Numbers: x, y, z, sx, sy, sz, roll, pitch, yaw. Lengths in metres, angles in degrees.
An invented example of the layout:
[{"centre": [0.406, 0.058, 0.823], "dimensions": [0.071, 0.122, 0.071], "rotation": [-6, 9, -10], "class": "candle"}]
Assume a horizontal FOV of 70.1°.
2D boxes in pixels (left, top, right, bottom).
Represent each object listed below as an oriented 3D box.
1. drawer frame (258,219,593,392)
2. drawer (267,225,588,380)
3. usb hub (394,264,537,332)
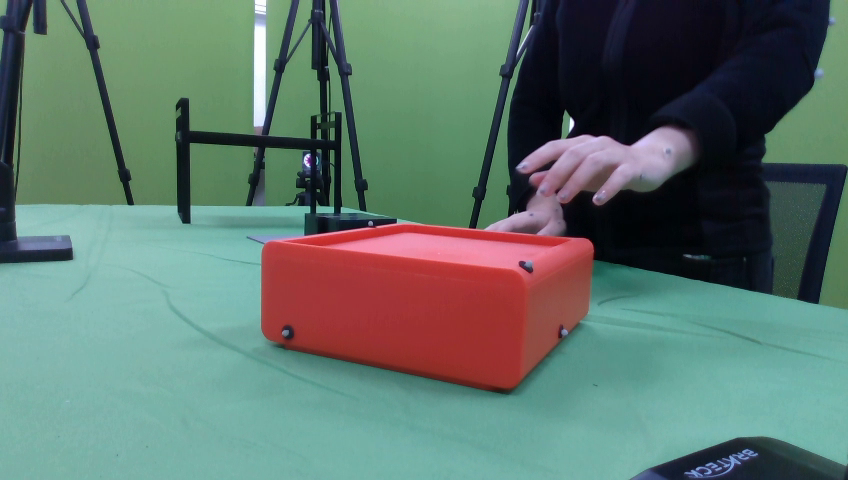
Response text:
[{"centre": [0.015, 0.036, 0.492], "dimensions": [0.201, 0.082, 0.214], "rotation": [6, 9, 24], "class": "drawer frame"}, {"centre": [0.015, 0.038, 0.494], "dimensions": [0.194, 0.073, 0.212], "rotation": [7, 9, 25], "class": "drawer"}, {"centre": [0.033, 0.048, 0.534], "dimensions": [0.124, 0.025, 0.050], "rotation": [16, 14, 39], "class": "usb hub"}]
